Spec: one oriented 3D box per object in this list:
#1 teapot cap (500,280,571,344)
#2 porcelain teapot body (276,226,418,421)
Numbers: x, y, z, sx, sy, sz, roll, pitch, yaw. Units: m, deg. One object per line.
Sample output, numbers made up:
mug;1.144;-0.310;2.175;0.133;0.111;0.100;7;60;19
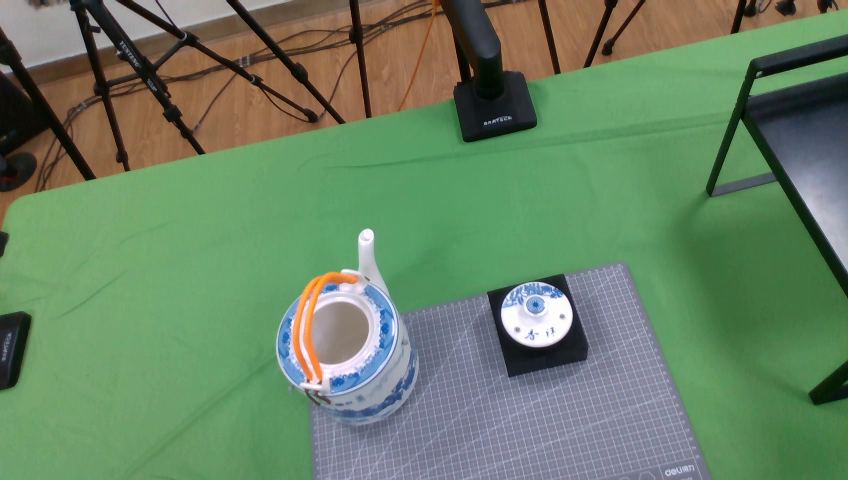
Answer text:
teapot cap;0.132;0.083;0.723;0.085;0.044;0.084;-6;57;9
porcelain teapot body;-0.088;0.090;0.715;0.145;0.227;0.204;6;61;15
